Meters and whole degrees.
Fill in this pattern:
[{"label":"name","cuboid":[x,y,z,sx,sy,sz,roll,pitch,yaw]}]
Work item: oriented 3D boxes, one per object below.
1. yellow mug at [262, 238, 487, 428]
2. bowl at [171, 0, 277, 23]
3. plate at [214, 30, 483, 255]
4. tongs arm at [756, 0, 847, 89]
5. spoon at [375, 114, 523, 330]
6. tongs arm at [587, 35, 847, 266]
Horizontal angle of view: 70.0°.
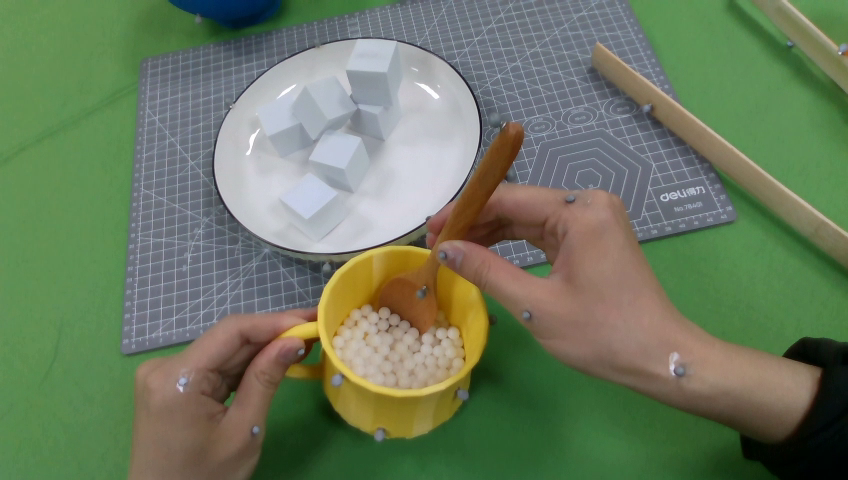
[{"label":"yellow mug","cuboid":[-0.031,0.059,0.368,0.131,0.064,0.099,-7,55,-13]},{"label":"bowl","cuboid":[-0.184,-0.260,0.569,0.151,0.077,0.150,-3,62,7]},{"label":"plate","cuboid":[-0.057,-0.077,0.475,0.207,0.039,0.206,-3,62,6]},{"label":"tongs arm","cuboid":[0.326,-0.073,0.428,0.051,0.027,0.381,-25,64,-6]},{"label":"spoon","cuboid":[0.010,0.002,0.330,0.041,0.194,0.021,38,56,5]},{"label":"tongs arm","cuboid":[0.256,-0.033,0.419,0.028,0.028,0.384,-36,65,-15]}]
